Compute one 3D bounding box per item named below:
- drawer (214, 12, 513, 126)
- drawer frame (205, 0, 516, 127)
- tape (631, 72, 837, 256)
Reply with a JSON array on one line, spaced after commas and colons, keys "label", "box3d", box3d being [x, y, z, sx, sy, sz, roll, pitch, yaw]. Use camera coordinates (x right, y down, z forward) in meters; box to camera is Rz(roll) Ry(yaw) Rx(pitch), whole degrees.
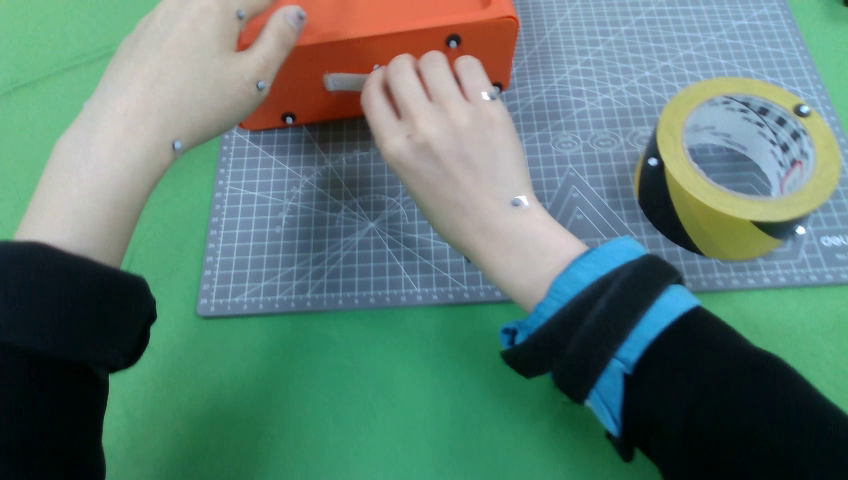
[{"label": "drawer", "box3d": [-0.054, -0.199, 0.459, 0.194, 0.074, 0.210, -10, 62, -3]}, {"label": "drawer frame", "box3d": [-0.056, -0.201, 0.459, 0.202, 0.083, 0.211, -10, 62, -4]}, {"label": "tape", "box3d": [0.198, -0.049, 0.393, 0.117, 0.053, 0.116, -1, 63, 2]}]
